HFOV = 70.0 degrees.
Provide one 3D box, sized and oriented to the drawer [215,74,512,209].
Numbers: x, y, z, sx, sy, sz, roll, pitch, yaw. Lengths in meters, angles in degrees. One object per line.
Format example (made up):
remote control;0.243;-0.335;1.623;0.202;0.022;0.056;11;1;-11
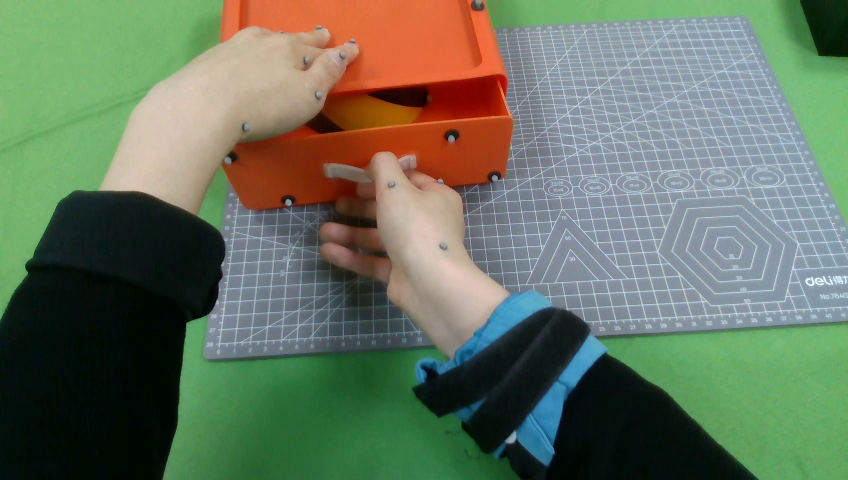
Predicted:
drawer;-0.050;-0.135;0.467;0.194;0.074;0.209;-7;60;-2

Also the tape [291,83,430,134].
tape;-0.053;-0.136;0.475;0.117;0.053;0.116;0;61;1

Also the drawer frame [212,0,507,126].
drawer frame;-0.055;-0.168;0.486;0.202;0.083;0.211;-8;59;-3
